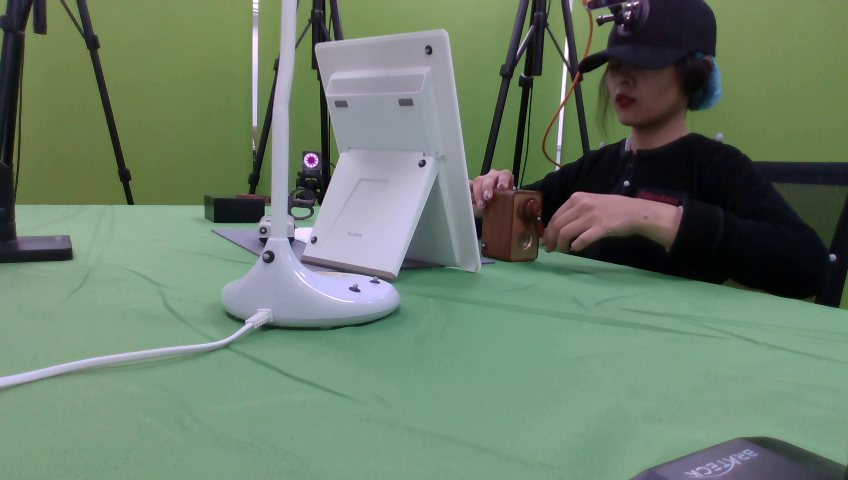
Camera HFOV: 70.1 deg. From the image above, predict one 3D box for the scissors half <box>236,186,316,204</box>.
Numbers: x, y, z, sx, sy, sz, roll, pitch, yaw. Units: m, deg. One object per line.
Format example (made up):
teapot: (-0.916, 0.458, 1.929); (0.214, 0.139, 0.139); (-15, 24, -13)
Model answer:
scissors half: (-0.320, -0.097, 1.316); (0.176, 0.040, 0.013); (-3, 11, -29)

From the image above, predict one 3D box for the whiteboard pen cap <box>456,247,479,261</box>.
whiteboard pen cap: (0.060, 0.020, 0.851); (0.033, 0.018, 0.018); (11, 11, 37)

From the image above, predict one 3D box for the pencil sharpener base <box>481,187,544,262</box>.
pencil sharpener base: (0.134, -0.024, 0.913); (0.062, 0.107, 0.076); (-2, 9, -34)

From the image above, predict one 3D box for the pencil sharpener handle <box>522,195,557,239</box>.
pencil sharpener handle: (0.171, -0.032, 0.874); (0.036, 0.068, 0.030); (-37, 27, -24)

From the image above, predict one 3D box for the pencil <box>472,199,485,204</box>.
pencil: (0.091, -0.062, 0.978); (0.012, 0.012, 0.193); (-3, 8, -35)

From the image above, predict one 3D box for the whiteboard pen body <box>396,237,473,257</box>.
whiteboard pen body: (0.014, 0.012, 0.886); (0.140, 0.017, 0.017); (10, 10, 38)

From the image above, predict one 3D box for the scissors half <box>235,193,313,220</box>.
scissors half: (-0.324, -0.077, 1.319); (0.176, 0.040, 0.012); (17, 6, -31)

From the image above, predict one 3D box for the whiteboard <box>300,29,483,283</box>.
whiteboard: (-0.074, -0.082, 0.742); (0.216, 0.305, 0.144); (9, 30, 38)

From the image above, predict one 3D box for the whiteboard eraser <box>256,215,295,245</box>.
whiteboard eraser: (-0.232, -0.016, 0.951); (0.056, 0.042, 0.112); (2, 7, -12)

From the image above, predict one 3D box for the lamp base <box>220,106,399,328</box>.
lamp base: (-0.101, -0.023, 0.531); (0.160, 0.180, 0.179); (4, 10, 10)
